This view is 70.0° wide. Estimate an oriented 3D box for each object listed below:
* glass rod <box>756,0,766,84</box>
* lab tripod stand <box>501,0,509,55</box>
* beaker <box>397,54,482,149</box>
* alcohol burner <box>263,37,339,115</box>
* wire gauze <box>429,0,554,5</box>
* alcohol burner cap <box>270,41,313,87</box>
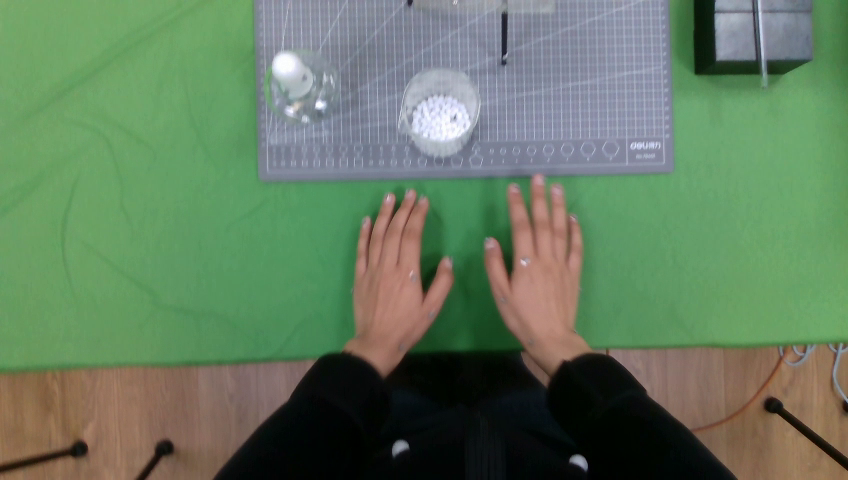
[{"bbox_3d":[0.339,-0.258,0.612,0.008,0.008,0.199,-3,91,0],"label":"glass rod"},{"bbox_3d":[0.054,-0.269,0.590,0.148,0.131,0.148,0,88,0],"label":"lab tripod stand"},{"bbox_3d":[0.013,-0.131,0.607,0.084,0.100,0.074,-28,90,0],"label":"beaker"},{"bbox_3d":[-0.125,-0.166,0.598,0.078,0.119,0.078,0,91,-1],"label":"alcohol burner"},{"bbox_3d":[0.051,-0.265,0.524,0.125,0.011,0.121,0,90,-1],"label":"wire gauze"},{"bbox_3d":[-0.125,-0.165,0.562,0.034,0.048,0.034,0,85,3],"label":"alcohol burner cap"}]
